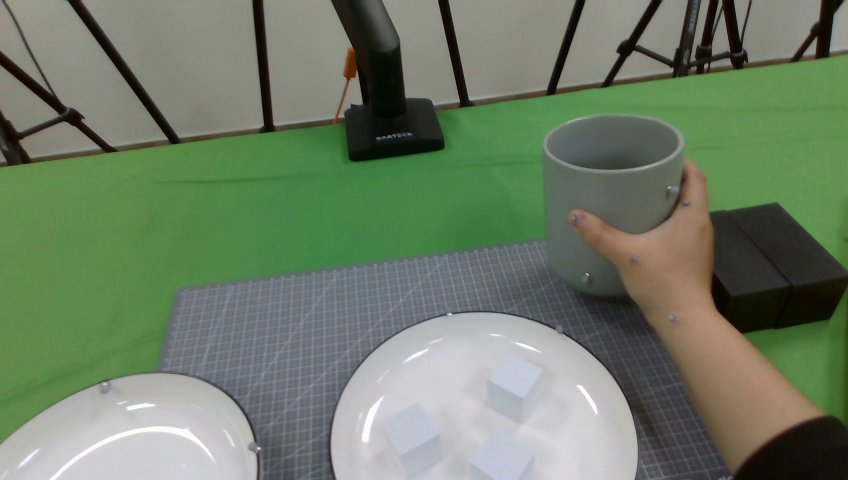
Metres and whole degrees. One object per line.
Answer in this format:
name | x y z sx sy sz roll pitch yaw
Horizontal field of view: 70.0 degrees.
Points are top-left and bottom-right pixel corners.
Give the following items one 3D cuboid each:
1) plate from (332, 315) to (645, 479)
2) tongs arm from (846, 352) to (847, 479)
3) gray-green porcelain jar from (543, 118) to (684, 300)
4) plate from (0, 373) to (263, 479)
plate | 0.042 0.140 0.421 0.207 0.039 0.205 -3 40 3
tongs arm | 0.360 0.067 0.487 0.028 0.028 0.386 19 46 22
gray-green porcelain jar | 0.154 -0.022 0.502 0.106 0.127 0.105 -7 34 5
plate | -0.206 0.181 0.396 0.209 0.038 0.207 -4 40 4
